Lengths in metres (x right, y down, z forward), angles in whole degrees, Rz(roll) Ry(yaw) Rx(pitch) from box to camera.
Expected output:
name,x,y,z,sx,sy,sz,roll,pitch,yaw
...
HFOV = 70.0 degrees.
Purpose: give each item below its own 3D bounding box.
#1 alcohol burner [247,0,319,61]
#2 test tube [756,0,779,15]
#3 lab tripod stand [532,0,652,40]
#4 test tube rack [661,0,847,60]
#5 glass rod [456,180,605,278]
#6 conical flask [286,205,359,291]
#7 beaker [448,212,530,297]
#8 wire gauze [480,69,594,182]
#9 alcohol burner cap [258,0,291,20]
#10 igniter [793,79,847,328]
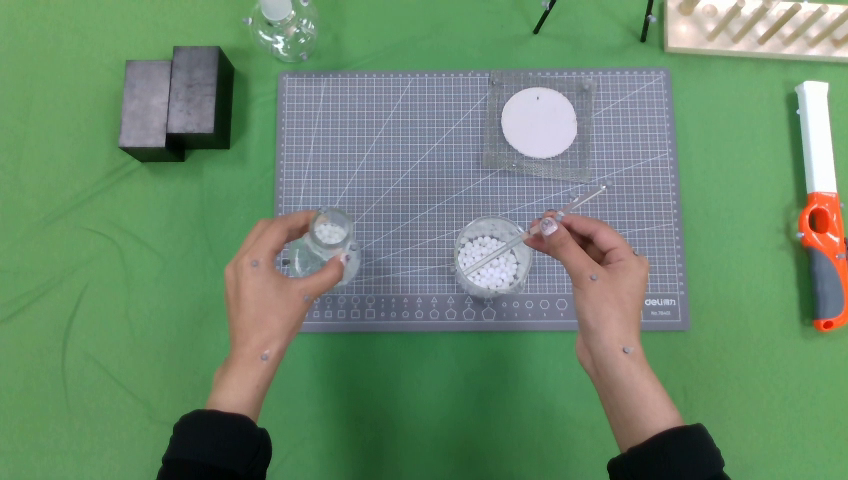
name,x,y,z,sx,sy,sz,roll,pitch,yaw
alcohol burner,-0.157,-0.245,0.656,0.078,0.119,0.077,0,81,2
test tube,0.382,-0.277,0.622,0.017,0.151,0.017,-1,79,3
lab tripod stand,0.192,-0.285,0.650,0.148,0.132,0.148,0,82,1
test tube rack,0.399,-0.253,0.667,0.242,0.085,0.066,3,80,1
glass rod,0.084,-0.004,0.536,0.008,0.200,0.008,16,58,-28
conical flask,-0.094,0.003,0.577,0.075,0.122,0.075,3,75,-12
beaker,0.065,0.021,0.613,0.074,0.100,0.083,-36,82,-5
wire gauze,0.129,-0.132,0.686,0.125,0.011,0.121,8,80,-1
alcohol burner cap,-0.157,-0.254,0.621,0.034,0.048,0.033,0,74,0
igniter,0.431,-0.042,0.661,0.057,0.025,0.275,3,80,-9
